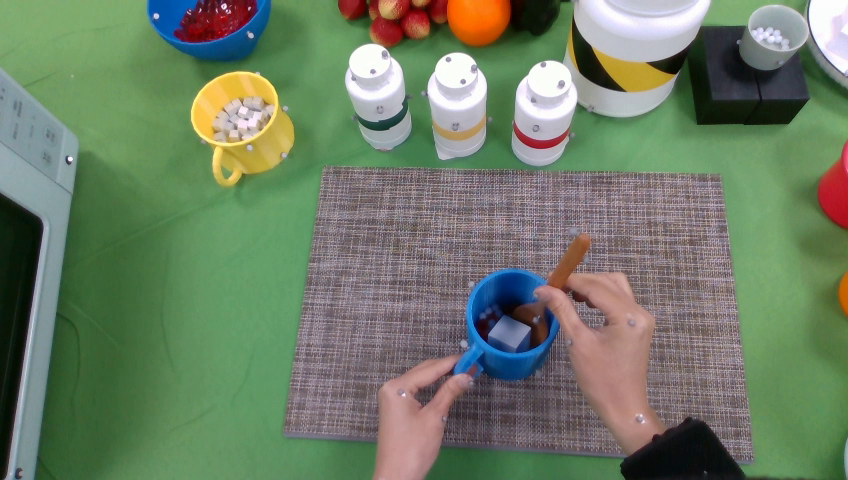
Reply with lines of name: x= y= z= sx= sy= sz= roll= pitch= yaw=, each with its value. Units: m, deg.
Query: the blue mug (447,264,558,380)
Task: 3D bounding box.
blue mug: x=0.067 y=0.089 z=0.569 sx=0.116 sy=0.106 sz=0.082 roll=-41 pitch=70 yaw=-11

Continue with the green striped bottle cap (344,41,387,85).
green striped bottle cap: x=-0.060 y=-0.183 z=0.626 sx=0.044 sy=0.020 sz=0.044 roll=-1 pitch=68 yaw=2

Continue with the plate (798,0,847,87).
plate: x=0.540 y=-0.245 z=0.704 sx=0.209 sy=0.038 sz=0.207 roll=-1 pitch=69 yaw=4

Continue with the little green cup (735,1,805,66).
little green cup: x=0.369 y=-0.220 z=0.652 sx=0.061 sy=0.039 sz=0.061 roll=-1 pitch=66 yaw=2

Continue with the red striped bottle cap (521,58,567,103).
red striped bottle cap: x=0.119 y=-0.159 z=0.602 sx=0.044 sy=0.018 sz=0.044 roll=0 pitch=67 yaw=1

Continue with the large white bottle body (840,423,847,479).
large white bottle body: x=0.437 y=0.174 z=0.467 sx=0.130 sy=0.186 sz=0.129 roll=-2 pitch=68 yaw=4

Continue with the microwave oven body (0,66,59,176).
microwave oven body: x=-0.567 y=0.044 z=0.553 sx=0.326 sy=0.262 sz=0.438 roll=-7 pitch=69 yaw=1

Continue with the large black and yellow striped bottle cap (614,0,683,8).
large black and yellow striped bottle cap: x=0.211 y=-0.268 z=0.569 sx=0.115 sy=0.019 sz=0.114 roll=-2 pitch=67 yaw=5

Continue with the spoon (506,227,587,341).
spoon: x=0.104 y=0.043 z=0.518 sx=0.021 sy=0.195 sz=0.041 roll=-38 pitch=71 yaw=-21

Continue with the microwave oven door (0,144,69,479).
microwave oven door: x=-0.418 y=0.063 z=0.528 sx=0.039 sy=0.245 sz=0.353 roll=-7 pitch=68 yaw=2

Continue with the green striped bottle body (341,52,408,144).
green striped bottle body: x=-0.055 y=-0.164 z=0.674 sx=0.063 sy=0.120 sz=0.062 roll=-1 pitch=68 yaw=4

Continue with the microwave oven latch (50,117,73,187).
microwave oven latch: x=-0.430 y=-0.101 z=0.703 sx=0.030 sy=0.030 sz=0.078 roll=-5 pitch=69 yaw=2

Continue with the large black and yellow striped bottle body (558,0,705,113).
large black and yellow striped bottle body: x=0.219 y=-0.238 z=0.648 sx=0.131 sy=0.185 sz=0.130 roll=-2 pitch=68 yaw=4

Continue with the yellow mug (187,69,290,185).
yellow mug: x=-0.218 y=-0.125 z=0.701 sx=0.100 sy=0.064 sz=0.130 roll=11 pitch=70 yaw=8

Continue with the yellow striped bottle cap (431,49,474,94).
yellow striped bottle cap: x=0.029 y=-0.171 z=0.615 sx=0.044 sy=0.019 sz=0.044 roll=-1 pitch=69 yaw=4

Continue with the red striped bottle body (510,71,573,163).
red striped bottle body: x=0.125 y=-0.139 z=0.650 sx=0.063 sy=0.120 sz=0.062 roll=-2 pitch=67 yaw=6

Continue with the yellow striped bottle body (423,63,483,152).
yellow striped bottle body: x=0.033 y=-0.152 z=0.662 sx=0.063 sy=0.121 sz=0.062 roll=-2 pitch=68 yaw=5

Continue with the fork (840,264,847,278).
fork: x=0.469 y=0.059 z=0.529 sx=0.028 sy=0.019 sz=0.205 roll=-36 pitch=26 yaw=-8

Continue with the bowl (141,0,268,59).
bowl: x=-0.262 y=-0.282 z=0.760 sx=0.151 sy=0.077 sz=0.150 roll=-1 pitch=69 yaw=3
